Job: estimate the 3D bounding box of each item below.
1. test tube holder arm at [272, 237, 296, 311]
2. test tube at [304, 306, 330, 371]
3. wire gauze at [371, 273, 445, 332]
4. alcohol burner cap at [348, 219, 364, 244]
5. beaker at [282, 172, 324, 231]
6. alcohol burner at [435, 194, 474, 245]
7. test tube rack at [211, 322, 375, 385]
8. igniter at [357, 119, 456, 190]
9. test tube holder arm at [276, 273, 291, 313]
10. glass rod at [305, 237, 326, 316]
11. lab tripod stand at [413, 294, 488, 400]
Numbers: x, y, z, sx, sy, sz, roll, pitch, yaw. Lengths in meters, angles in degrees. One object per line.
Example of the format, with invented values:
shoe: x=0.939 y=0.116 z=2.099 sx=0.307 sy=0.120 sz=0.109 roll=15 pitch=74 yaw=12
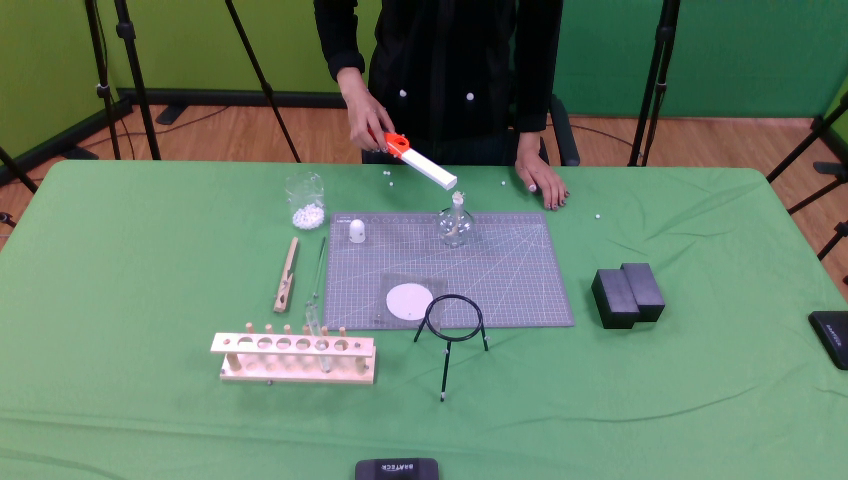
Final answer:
test tube holder arm: x=-0.258 y=0.059 z=1.123 sx=0.013 sy=0.015 sz=0.177 roll=27 pitch=39 yaw=-25
test tube: x=-0.162 y=0.153 z=0.925 sx=0.017 sy=0.151 sz=0.017 roll=-2 pitch=44 yaw=2
wire gauze: x=-0.028 y=0.108 z=1.100 sx=0.125 sy=0.011 sz=0.121 roll=7 pitch=45 yaw=4
alcohol burner cap: x=-0.134 y=-0.019 z=1.190 sx=0.034 sy=0.048 sz=0.033 roll=2 pitch=45 yaw=-2
beaker: x=-0.234 y=-0.073 z=1.199 sx=0.084 sy=0.101 sz=0.074 roll=24 pitch=49 yaw=17
alcohol burner: x=0.061 y=-0.046 z=1.183 sx=0.078 sy=0.119 sz=0.077 roll=3 pitch=47 yaw=-3
test tube rack: x=-0.203 y=0.176 z=0.969 sx=0.242 sy=0.085 sz=0.066 roll=3 pitch=46 yaw=-2
igniter: x=-0.043 y=-0.178 z=1.217 sx=0.057 sy=0.025 sz=0.275 roll=-37 pitch=56 yaw=-27
test tube holder arm: x=-0.253 y=0.093 z=1.094 sx=0.010 sy=0.015 sz=0.087 roll=27 pitch=39 yaw=-25
glass rod: x=-0.202 y=0.063 z=1.131 sx=0.008 sy=0.008 sz=0.198 roll=3 pitch=44 yaw=0
lab tripod stand: x=0.044 y=0.159 z=0.972 sx=0.148 sy=0.132 sz=0.147 roll=2 pitch=44 yaw=-2
